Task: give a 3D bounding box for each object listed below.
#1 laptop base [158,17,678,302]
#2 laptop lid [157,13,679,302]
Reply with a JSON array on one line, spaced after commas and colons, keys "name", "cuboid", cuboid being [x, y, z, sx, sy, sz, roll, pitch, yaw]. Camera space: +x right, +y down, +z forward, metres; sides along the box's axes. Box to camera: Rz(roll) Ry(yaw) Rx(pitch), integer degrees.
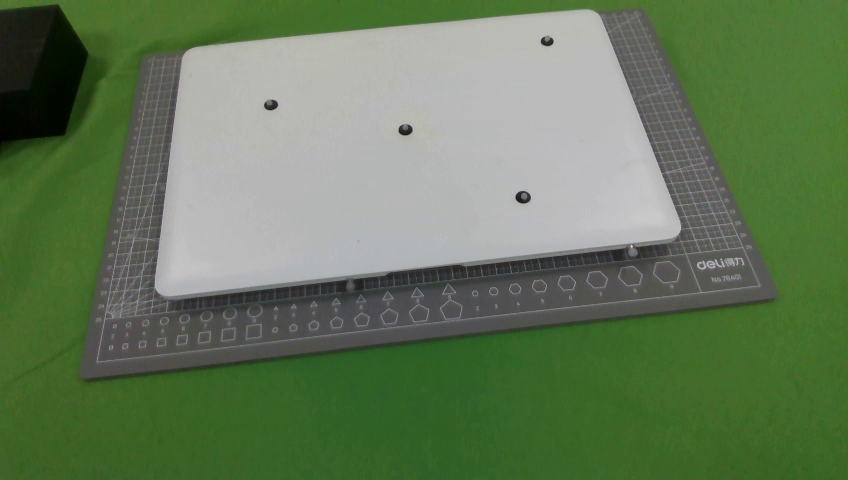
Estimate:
[{"name": "laptop base", "cuboid": [-0.013, -0.073, 0.467, 0.354, 0.023, 0.233, -6, 61, -3]}, {"name": "laptop lid", "cuboid": [-0.013, -0.078, 0.455, 0.357, 0.013, 0.239, -5, 60, -2]}]
